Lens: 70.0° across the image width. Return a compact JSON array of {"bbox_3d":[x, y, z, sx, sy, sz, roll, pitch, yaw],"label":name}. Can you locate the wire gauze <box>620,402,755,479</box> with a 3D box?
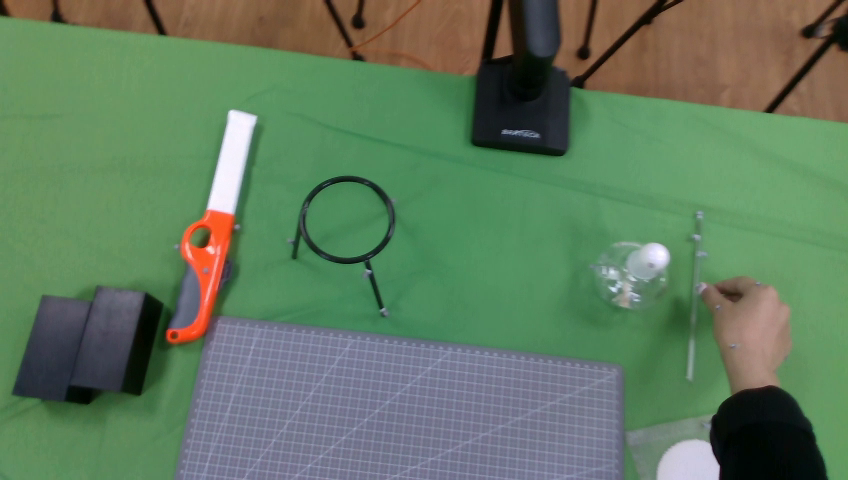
[{"bbox_3d":[0.282,0.241,0.633,0.125,0.011,0.120,-10,73,-4],"label":"wire gauze"}]

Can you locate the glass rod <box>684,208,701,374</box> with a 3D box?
[{"bbox_3d":[0.308,0.055,0.694,0.008,0.008,0.198,12,72,1],"label":"glass rod"}]

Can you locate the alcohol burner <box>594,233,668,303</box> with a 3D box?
[{"bbox_3d":[0.225,0.024,0.644,0.078,0.120,0.077,1,70,-3],"label":"alcohol burner"}]

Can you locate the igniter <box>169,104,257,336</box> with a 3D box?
[{"bbox_3d":[-0.232,-0.027,0.678,0.057,0.025,0.275,13,71,-15],"label":"igniter"}]

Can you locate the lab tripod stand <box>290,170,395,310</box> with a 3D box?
[{"bbox_3d":[-0.075,-0.009,0.626,0.148,0.132,0.147,1,70,-2],"label":"lab tripod stand"}]

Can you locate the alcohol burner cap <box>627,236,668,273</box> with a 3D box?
[{"bbox_3d":[0.228,0.013,0.610,0.034,0.048,0.033,0,76,1],"label":"alcohol burner cap"}]
